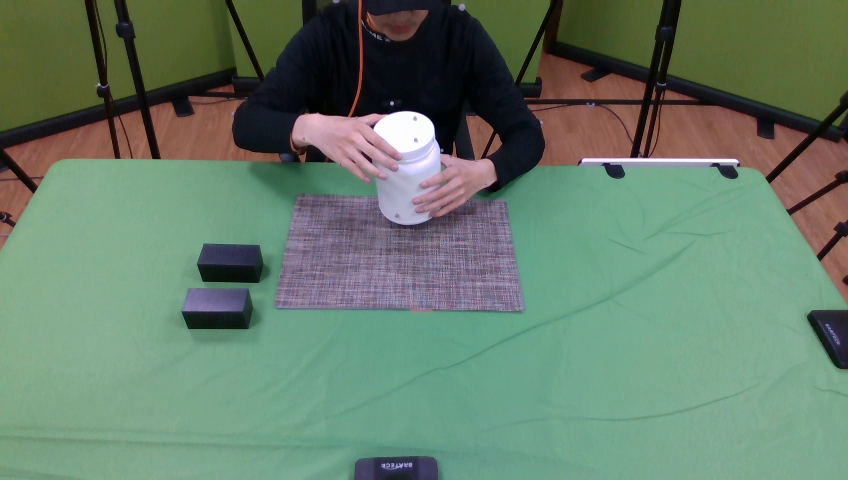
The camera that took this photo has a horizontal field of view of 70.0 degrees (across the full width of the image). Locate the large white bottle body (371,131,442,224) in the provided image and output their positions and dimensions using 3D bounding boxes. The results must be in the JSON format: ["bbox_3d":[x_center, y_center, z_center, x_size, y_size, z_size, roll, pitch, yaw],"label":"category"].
[{"bbox_3d":[-0.032,-0.136,1.173,0.130,0.185,0.130,-2,49,3],"label":"large white bottle body"}]

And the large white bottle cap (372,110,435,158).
[{"bbox_3d":[-0.037,-0.195,1.106,0.115,0.018,0.114,-3,51,4],"label":"large white bottle cap"}]
